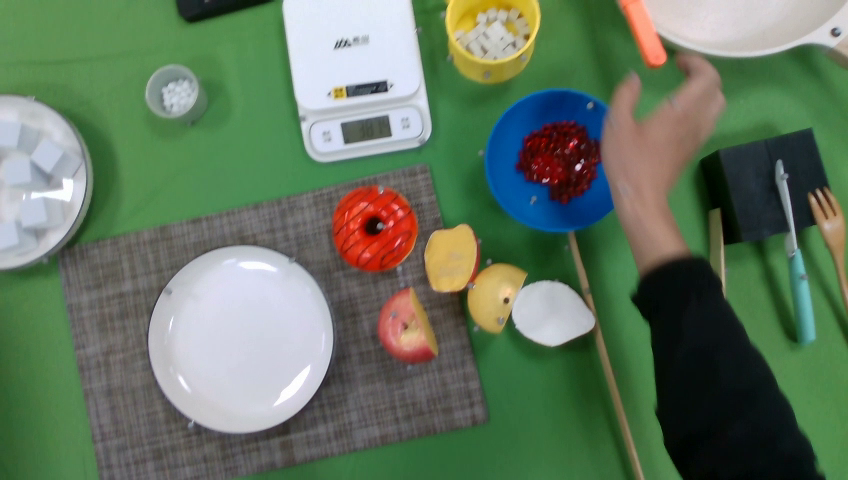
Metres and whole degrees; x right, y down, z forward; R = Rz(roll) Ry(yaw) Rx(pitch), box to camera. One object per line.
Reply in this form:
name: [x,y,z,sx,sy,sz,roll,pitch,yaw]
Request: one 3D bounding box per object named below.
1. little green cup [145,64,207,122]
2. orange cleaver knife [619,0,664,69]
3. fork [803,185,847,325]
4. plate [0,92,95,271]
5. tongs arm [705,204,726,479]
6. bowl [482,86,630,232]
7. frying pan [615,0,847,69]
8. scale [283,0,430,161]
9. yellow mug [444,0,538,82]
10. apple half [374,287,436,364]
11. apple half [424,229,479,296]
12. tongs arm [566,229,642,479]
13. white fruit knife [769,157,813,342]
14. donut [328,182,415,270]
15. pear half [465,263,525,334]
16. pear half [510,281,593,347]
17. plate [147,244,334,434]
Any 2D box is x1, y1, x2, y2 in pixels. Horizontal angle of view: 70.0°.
little green cup: [-0.284,-0.168,0.703,0.061,0.039,0.061,0,86,4]
orange cleaver knife: [0.216,-0.282,0.630,0.077,0.012,0.211,-23,86,-2]
fork: [0.439,0.040,0.637,0.028,0.018,0.208,-23,101,0]
plate: [-0.481,-0.067,0.707,0.207,0.039,0.207,0,86,3]
tongs arm: [0.308,0.154,0.654,0.028,0.028,0.387,2,87,-4]
bowl: [0.136,-0.080,0.654,0.151,0.077,0.151,0,87,4]
frying pan: [0.391,-0.256,0.638,0.307,0.103,0.485,-40,77,1]
scale: [-0.079,-0.199,0.697,0.148,0.031,0.200,-9,86,3]
yellow mug: [0.062,-0.246,0.675,0.130,0.064,0.100,44,90,6]
apple half: [-0.025,0.096,0.651,0.053,0.074,0.081,-23,89,6]
apple half: [0.038,0.024,0.672,0.080,0.033,0.081,11,106,45]
tongs arm: [0.223,0.166,0.655,0.051,0.026,0.384,-13,87,-1]
white fruit knife: [0.382,0.014,0.634,0.016,0.027,0.208,-15,100,3]
donut: [-0.059,-0.015,0.674,0.099,0.048,0.099,0,88,6]
pear half: [0.070,0.057,0.633,0.056,0.110,0.076,20,82,6]
pear half: [0.140,0.083,0.665,0.087,0.031,0.070,13,83,14]
plate: [-0.200,0.108,0.677,0.209,0.038,0.208,0,86,3]
